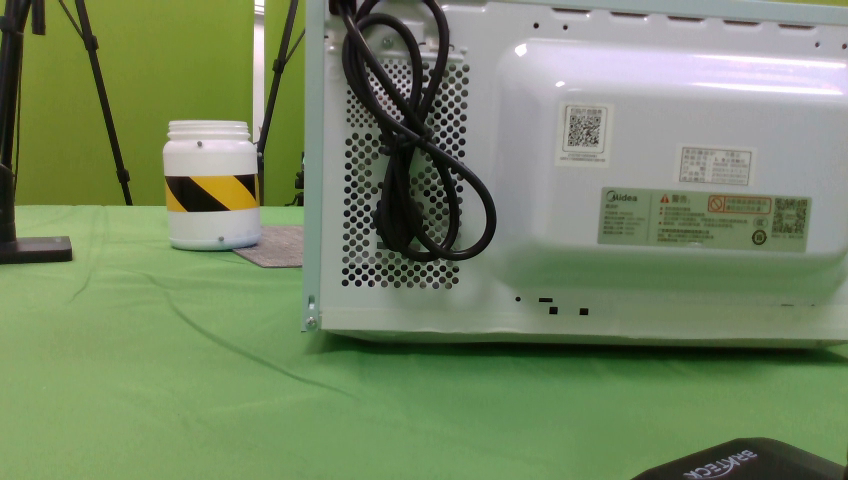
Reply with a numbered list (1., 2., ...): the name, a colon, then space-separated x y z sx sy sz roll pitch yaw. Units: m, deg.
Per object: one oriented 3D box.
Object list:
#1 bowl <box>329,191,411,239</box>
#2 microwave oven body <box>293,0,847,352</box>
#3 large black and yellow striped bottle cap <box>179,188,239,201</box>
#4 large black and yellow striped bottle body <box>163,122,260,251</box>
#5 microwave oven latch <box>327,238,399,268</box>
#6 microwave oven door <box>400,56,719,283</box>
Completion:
1. bowl: -0.099 -0.046 1.104 0.151 0.077 0.151 3 8 0
2. microwave oven body: 0.122 -0.055 0.550 0.442 0.260 0.325 3 7 -5
3. large black and yellow striped bottle cap: -0.434 -0.093 1.226 0.115 0.019 0.115 3 9 0
4. large black and yellow striped bottle body: -0.317 -0.083 0.907 0.131 0.184 0.130 0 9 0
5. microwave oven latch: -0.069 0.015 0.694 0.079 0.029 0.030 3 7 -3
6. microwave oven door: 0.155 -0.078 0.698 0.356 0.243 0.039 2 8 -5
